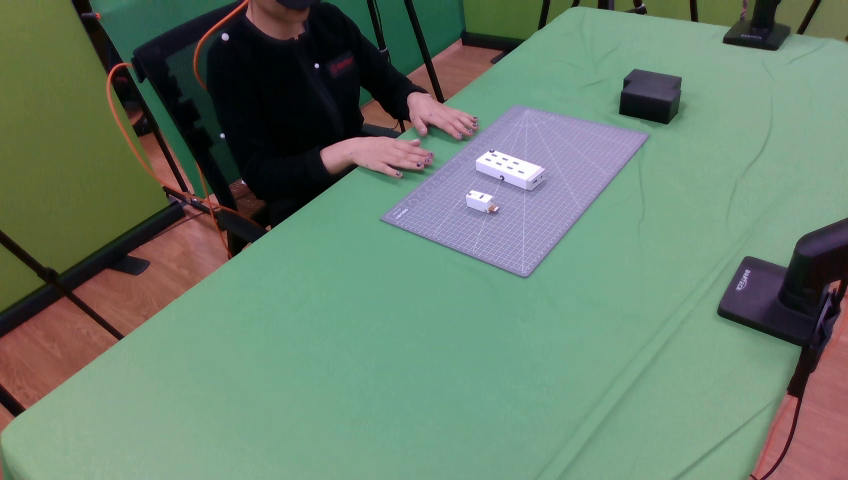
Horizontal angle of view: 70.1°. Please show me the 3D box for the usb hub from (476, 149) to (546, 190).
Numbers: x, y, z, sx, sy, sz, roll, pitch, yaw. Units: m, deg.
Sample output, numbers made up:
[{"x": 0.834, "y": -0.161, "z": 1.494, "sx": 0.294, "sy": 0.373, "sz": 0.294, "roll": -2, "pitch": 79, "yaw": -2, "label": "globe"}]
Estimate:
[{"x": 0.157, "y": -0.129, "z": 1.098, "sx": 0.124, "sy": 0.025, "sz": 0.049, "roll": 28, "pitch": 52, "yaw": 35, "label": "usb hub"}]

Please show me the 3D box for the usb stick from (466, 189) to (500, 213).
[{"x": 0.102, "y": -0.064, "z": 1.031, "sx": 0.059, "sy": 0.027, "sz": 0.021, "roll": 24, "pitch": 49, "yaw": 30, "label": "usb stick"}]
